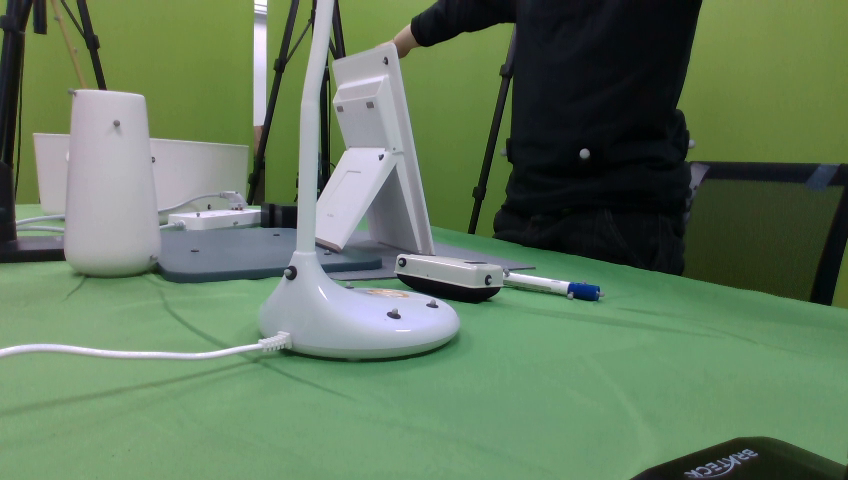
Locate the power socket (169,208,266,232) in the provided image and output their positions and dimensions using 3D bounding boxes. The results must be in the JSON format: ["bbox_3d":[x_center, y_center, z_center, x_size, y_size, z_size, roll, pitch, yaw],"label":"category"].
[{"bbox_3d":[-0.379,-0.038,1.129,0.072,0.032,0.227,4,8,18],"label":"power socket"}]

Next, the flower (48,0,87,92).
[{"bbox_3d":[-0.361,-0.141,0.658,0.038,0.361,0.044,-13,11,12],"label":"flower"}]

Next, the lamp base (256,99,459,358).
[{"bbox_3d":[-0.055,-0.013,0.463,0.160,0.180,0.180,6,11,27],"label":"lamp base"}]

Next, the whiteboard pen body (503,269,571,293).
[{"bbox_3d":[0.123,0.046,0.680,0.140,0.017,0.017,8,9,30],"label":"whiteboard pen body"}]

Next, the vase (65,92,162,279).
[{"bbox_3d":[-0.347,-0.060,0.672,0.098,0.200,0.098,0,7,0],"label":"vase"}]

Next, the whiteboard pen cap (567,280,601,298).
[{"bbox_3d":[0.171,0.052,0.648,0.033,0.018,0.018,9,10,31],"label":"whiteboard pen cap"}]

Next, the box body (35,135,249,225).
[{"bbox_3d":[-0.561,-0.127,1.258,0.254,0.160,0.365,4,8,13],"label":"box body"}]

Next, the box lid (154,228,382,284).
[{"bbox_3d":[-0.250,0.014,0.853,0.265,0.015,0.369,-3,9,-32],"label":"box lid"}]

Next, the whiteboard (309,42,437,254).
[{"bbox_3d":[-0.121,-0.112,0.890,0.144,0.305,0.216,-19,17,-26],"label":"whiteboard"}]

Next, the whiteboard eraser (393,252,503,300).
[{"bbox_3d":[0.024,0.037,0.637,0.112,0.042,0.056,8,7,42],"label":"whiteboard eraser"}]

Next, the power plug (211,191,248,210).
[{"bbox_3d":[-0.384,-0.071,1.206,0.072,0.052,0.035,1,7,27],"label":"power plug"}]
